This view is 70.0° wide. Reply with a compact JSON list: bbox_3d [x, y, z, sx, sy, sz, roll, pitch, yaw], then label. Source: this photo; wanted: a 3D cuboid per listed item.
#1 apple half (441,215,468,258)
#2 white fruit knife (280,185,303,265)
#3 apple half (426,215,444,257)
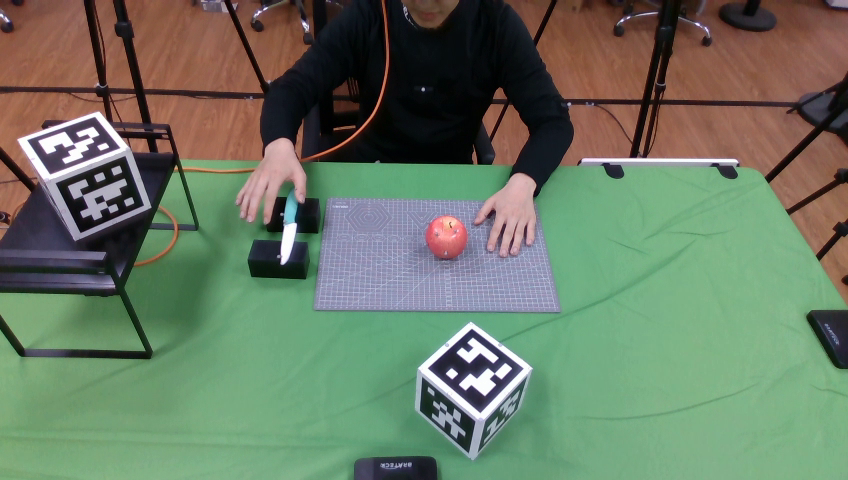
[{"bbox_3d":[0.058,-0.004,1.162,0.053,0.075,0.080,4,41,-6],"label":"apple half"},{"bbox_3d":[-0.253,-0.032,1.143,0.027,0.016,0.206,7,46,-10],"label":"white fruit knife"},{"bbox_3d":[0.019,-0.005,1.158,0.033,0.081,0.081,3,46,-7],"label":"apple half"}]
